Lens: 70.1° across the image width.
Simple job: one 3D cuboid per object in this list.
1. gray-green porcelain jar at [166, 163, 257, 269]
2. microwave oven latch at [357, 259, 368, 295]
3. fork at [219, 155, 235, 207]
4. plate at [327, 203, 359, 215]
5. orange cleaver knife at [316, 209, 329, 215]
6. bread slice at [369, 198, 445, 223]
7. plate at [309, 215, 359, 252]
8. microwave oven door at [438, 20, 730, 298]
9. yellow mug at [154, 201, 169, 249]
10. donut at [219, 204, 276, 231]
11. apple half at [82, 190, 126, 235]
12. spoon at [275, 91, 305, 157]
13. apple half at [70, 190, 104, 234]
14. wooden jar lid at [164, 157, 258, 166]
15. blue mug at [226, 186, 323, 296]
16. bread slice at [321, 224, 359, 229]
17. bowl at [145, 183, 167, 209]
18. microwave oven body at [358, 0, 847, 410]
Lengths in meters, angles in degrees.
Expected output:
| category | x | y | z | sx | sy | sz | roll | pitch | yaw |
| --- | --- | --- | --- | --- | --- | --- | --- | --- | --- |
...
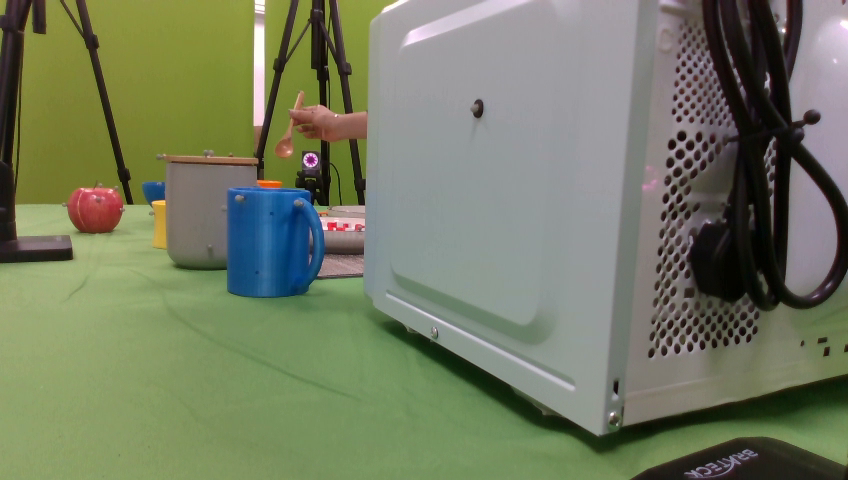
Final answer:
| category | x | y | z | sx | sy | sz | roll | pitch | yaw |
| --- | --- | --- | --- | --- | --- | --- | --- | --- | --- |
| gray-green porcelain jar | -0.263 | -0.031 | 0.754 | 0.106 | 0.126 | 0.106 | 2 | 7 | 0 |
| microwave oven latch | -0.019 | 0.031 | 0.529 | 0.079 | 0.029 | 0.030 | -1 | 7 | -26 |
| fork | -0.459 | -0.134 | 1.415 | 0.028 | 0.018 | 0.207 | -1 | -34 | -25 |
| plate | -0.102 | -0.053 | 1.299 | 0.209 | 0.038 | 0.209 | 2 | 8 | 0 |
| orange cleaver knife | -0.259 | -0.064 | 1.423 | 0.212 | 0.012 | 0.077 | -4 | 3 | -30 |
| bread slice | -0.039 | -0.055 | 1.141 | 0.107 | 0.018 | 0.133 | -8 | -6 | -40 |
| plate | -0.130 | -0.011 | 0.945 | 0.208 | 0.039 | 0.207 | 2 | 8 | 0 |
| microwave oven door | 0.181 | -0.076 | 0.618 | 0.358 | 0.243 | 0.039 | -2 | 8 | -28 |
| yellow mug | -0.338 | -0.022 | 0.899 | 0.130 | 0.064 | 0.100 | 8 | 9 | 34 |
| donut | -0.316 | -0.039 | 1.083 | 0.099 | 0.048 | 0.099 | 3 | 7 | 0 |
| apple half | -0.517 | -0.046 | 0.994 | 0.032 | 0.081 | 0.081 | 0 | 6 | 26 |
| spoon | -0.306 | -0.272 | 1.413 | 0.042 | 0.193 | 0.021 | 13 | -22 | -3 |
| apple half | -0.552 | -0.047 | 1.009 | 0.053 | 0.074 | 0.081 | -1 | 9 | 26 |
| wooden jar lid | -0.261 | -0.093 | 0.746 | 0.108 | 0.020 | 0.108 | 0 | 9 | 0 |
| blue mug | -0.148 | 0.000 | 0.618 | 0.116 | 0.106 | 0.083 | 7 | 9 | 33 |
| bread slice | -0.124 | -0.009 | 0.938 | 0.131 | 0.019 | 0.105 | 7 | 9 | 31 |
| bowl | -0.459 | -0.068 | 1.175 | 0.151 | 0.077 | 0.151 | 3 | 7 | 0 |
| microwave oven body | 0.210 | -0.051 | 0.471 | 0.444 | 0.260 | 0.324 | -1 | 7 | -28 |
